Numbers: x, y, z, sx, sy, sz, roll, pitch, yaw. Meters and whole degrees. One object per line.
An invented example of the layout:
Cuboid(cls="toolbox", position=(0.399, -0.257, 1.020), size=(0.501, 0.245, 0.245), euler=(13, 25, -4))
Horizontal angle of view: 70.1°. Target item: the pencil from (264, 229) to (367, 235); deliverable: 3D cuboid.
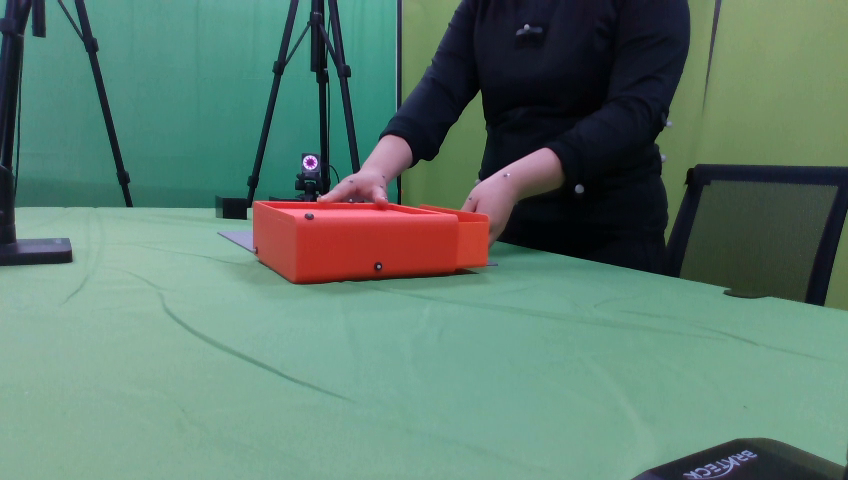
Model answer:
Cuboid(cls="pencil", position=(-0.195, -0.013, 1.109), size=(0.195, 0.012, 0.012), euler=(0, 7, -28))

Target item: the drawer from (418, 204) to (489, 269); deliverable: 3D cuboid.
Cuboid(cls="drawer", position=(-0.052, -0.004, 0.815), size=(0.213, 0.073, 0.193), euler=(-4, 10, -29))

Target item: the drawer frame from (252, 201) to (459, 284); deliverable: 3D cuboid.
Cuboid(cls="drawer frame", position=(-0.094, -0.005, 0.788), size=(0.215, 0.082, 0.200), euler=(-2, 10, -30))
